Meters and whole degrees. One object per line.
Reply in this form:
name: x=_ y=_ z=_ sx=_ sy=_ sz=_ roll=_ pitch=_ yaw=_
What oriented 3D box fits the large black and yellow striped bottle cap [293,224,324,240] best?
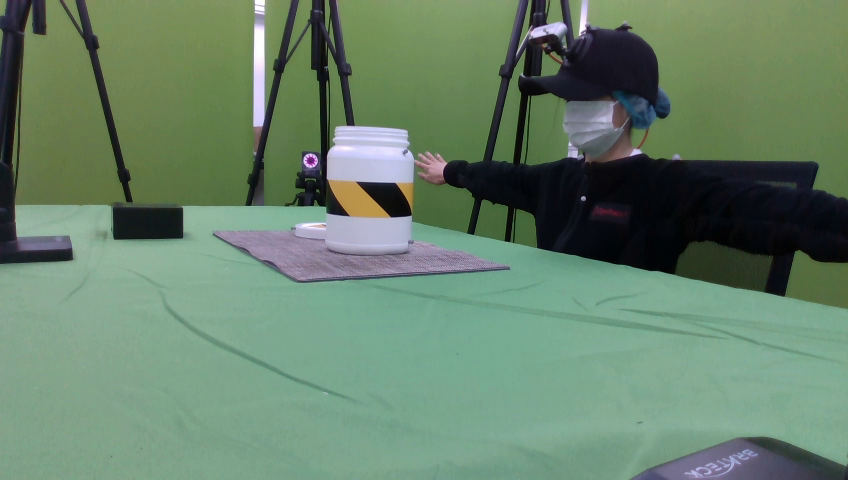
large black and yellow striped bottle cap: x=-0.173 y=-0.015 z=1.071 sx=0.115 sy=0.019 sz=0.115 roll=2 pitch=7 yaw=0

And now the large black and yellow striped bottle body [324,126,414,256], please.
large black and yellow striped bottle body: x=-0.082 y=-0.074 z=0.904 sx=0.131 sy=0.184 sz=0.130 roll=3 pitch=7 yaw=0
